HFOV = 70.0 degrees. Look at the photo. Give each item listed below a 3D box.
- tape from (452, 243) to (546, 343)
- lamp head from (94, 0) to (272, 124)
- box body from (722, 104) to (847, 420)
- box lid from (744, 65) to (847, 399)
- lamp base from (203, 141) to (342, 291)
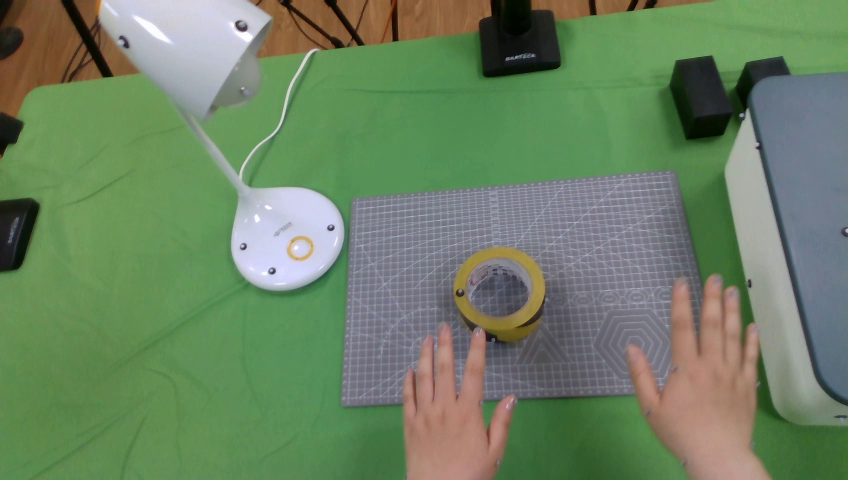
[{"bbox_3d":[0.092,0.065,0.750,0.117,0.053,0.116,-3,63,7],"label":"tape"},{"bbox_3d":[-0.209,-0.176,0.516,0.123,0.112,0.112,31,69,-14],"label":"lamp head"},{"bbox_3d":[0.493,0.005,0.654,0.254,0.162,0.361,-3,63,8],"label":"box body"},{"bbox_3d":[0.482,-0.030,0.589,0.263,0.015,0.368,-2,64,8],"label":"box lid"},{"bbox_3d":[-0.214,-0.043,0.785,0.178,0.182,0.160,32,73,25],"label":"lamp base"}]
